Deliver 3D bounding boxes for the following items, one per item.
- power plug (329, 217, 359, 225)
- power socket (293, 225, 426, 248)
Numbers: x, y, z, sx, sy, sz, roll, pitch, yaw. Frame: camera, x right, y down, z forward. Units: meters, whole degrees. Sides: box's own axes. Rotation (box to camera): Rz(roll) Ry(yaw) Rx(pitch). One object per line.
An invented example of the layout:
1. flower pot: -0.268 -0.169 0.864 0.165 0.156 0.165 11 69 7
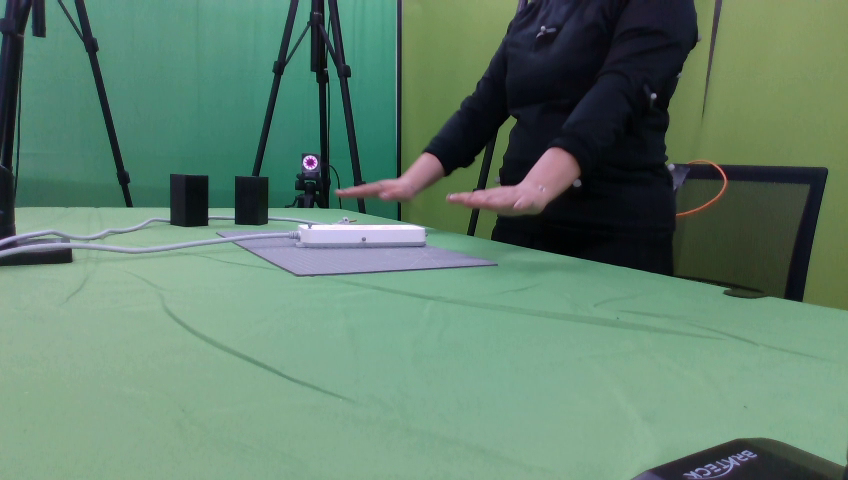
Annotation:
1. power plug: -0.151 -0.031 1.126 0.053 0.035 0.072 -12 22 -15
2. power socket: -0.104 -0.008 1.003 0.228 0.032 0.072 -1 7 -23
